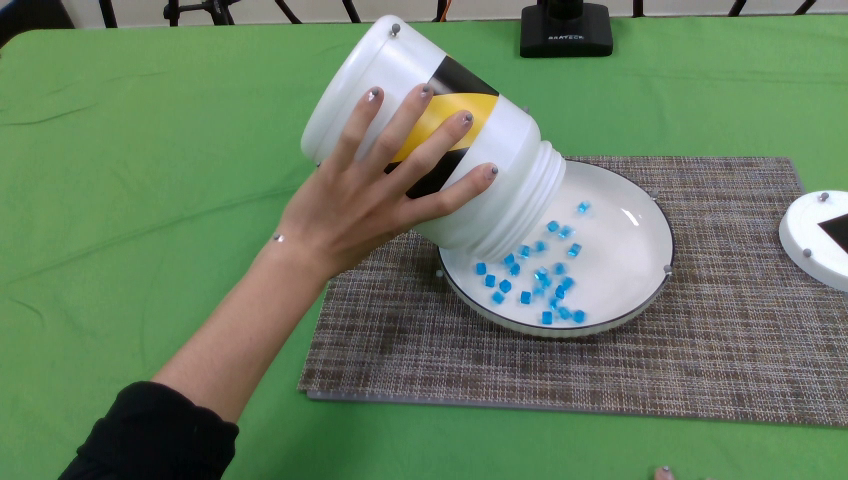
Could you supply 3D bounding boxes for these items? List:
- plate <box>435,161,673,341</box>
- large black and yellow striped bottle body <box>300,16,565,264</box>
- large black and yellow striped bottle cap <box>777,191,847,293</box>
[{"bbox_3d":[0.114,0.008,0.549,0.207,0.039,0.205,-3,47,4],"label":"plate"},{"bbox_3d":[0.009,-0.074,0.492,0.184,0.131,0.130,34,52,-9],"label":"large black and yellow striped bottle body"},{"bbox_3d":[0.380,0.000,0.542,0.115,0.019,0.114,-1,49,1],"label":"large black and yellow striped bottle cap"}]
